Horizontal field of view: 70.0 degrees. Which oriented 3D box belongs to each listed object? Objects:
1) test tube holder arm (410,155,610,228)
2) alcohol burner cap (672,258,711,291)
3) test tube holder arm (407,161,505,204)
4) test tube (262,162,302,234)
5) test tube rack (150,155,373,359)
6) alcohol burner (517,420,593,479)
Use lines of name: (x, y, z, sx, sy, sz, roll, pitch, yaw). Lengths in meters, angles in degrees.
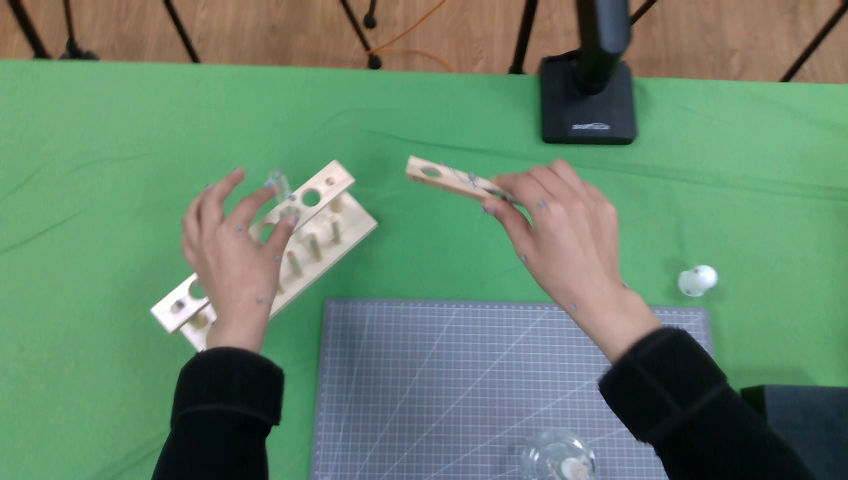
test tube holder arm: (0.073, -0.041, 0.521, 0.178, 0.015, 0.013, 16, 77, 2)
alcohol burner cap: (0.317, 0.039, 0.711, 0.034, 0.048, 0.033, 1, 71, -2)
test tube holder arm: (0.028, -0.049, 0.521, 0.088, 0.015, 0.010, 17, 77, 3)
test tube: (-0.147, -0.040, 0.640, 0.017, 0.151, 0.017, 1, 68, -2)
test tube rack: (-0.169, 0.020, 0.673, 0.242, 0.085, 0.066, -42, 78, -13)
alcohol burner: (0.135, 0.220, 0.607, 0.078, 0.119, 0.077, 1, 71, -3)
